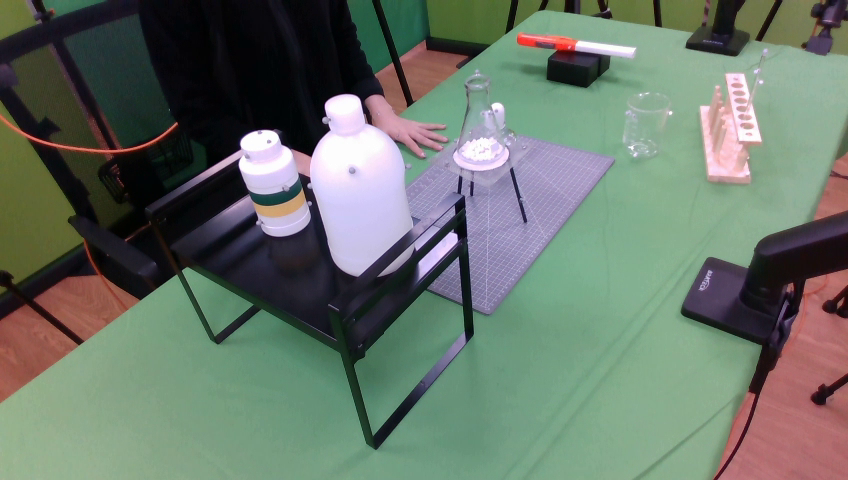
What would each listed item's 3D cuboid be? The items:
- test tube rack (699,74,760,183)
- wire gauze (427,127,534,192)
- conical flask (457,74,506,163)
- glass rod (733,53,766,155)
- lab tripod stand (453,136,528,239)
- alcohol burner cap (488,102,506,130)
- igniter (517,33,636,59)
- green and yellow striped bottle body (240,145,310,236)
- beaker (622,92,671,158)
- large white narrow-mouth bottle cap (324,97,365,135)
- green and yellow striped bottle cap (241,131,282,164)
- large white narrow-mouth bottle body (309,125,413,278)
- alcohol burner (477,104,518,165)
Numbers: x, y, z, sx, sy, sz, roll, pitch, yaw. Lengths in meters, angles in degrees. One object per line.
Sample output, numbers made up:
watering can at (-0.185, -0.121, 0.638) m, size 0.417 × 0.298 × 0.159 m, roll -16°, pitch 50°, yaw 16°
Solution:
test tube rack at (0.547, -0.208, 1.095) m, size 0.066 × 0.085 × 0.242 m, roll 6°, pitch 42°, yaw 16°
wire gauze at (0.086, -0.130, 0.925) m, size 0.124 × 0.011 × 0.122 m, roll 28°, pitch 54°, yaw 31°
conical flask at (0.082, -0.181, 0.893) m, size 0.075 × 0.122 × 0.075 m, roll -4°, pitch 41°, yaw 4°
glass rod at (0.540, -0.219, 1.006) m, size 0.008 × 0.201 × 0.008 m, roll -5°, pitch 45°, yaw 6°
lab tripod stand at (0.095, -0.086, 0.974) m, size 0.148 × 0.132 × 0.147 m, roll -4°, pitch 43°, yaw 4°
alcohol burner cap at (0.133, -0.227, 1.092) m, size 0.034 × 0.048 × 0.033 m, roll -2°, pitch 47°, yaw 2°
igniter at (0.336, -0.441, 1.369) m, size 0.275 × 0.025 × 0.057 m, roll 16°, pitch 41°, yaw 23°
green and yellow striped bottle body at (-0.181, -0.068, 0.729) m, size 0.063 × 0.120 × 0.063 m, roll -4°, pitch 40°, yaw 4°
beaker at (0.402, -0.210, 1.106) m, size 0.074 × 0.101 × 0.083 m, roll -9°, pitch 40°, yaw -2°
large white narrow-mouth bottle cap at (-0.076, -0.120, 0.585) m, size 0.038 × 0.024 × 0.037 m, roll -3°, pitch 42°, yaw 3°
green and yellow striped bottle cap at (-0.187, -0.107, 0.695) m, size 0.045 × 0.020 × 0.045 m, roll -3°, pitch 39°, yaw 3°
large white narrow-mouth bottle body at (-0.068, -0.057, 0.645) m, size 0.102 × 0.195 × 0.101 m, roll -3°, pitch 42°, yaw 4°
alcohol burner at (0.135, -0.200, 1.117) m, size 0.078 × 0.119 × 0.077 m, roll -4°, pitch 43°, yaw 4°
